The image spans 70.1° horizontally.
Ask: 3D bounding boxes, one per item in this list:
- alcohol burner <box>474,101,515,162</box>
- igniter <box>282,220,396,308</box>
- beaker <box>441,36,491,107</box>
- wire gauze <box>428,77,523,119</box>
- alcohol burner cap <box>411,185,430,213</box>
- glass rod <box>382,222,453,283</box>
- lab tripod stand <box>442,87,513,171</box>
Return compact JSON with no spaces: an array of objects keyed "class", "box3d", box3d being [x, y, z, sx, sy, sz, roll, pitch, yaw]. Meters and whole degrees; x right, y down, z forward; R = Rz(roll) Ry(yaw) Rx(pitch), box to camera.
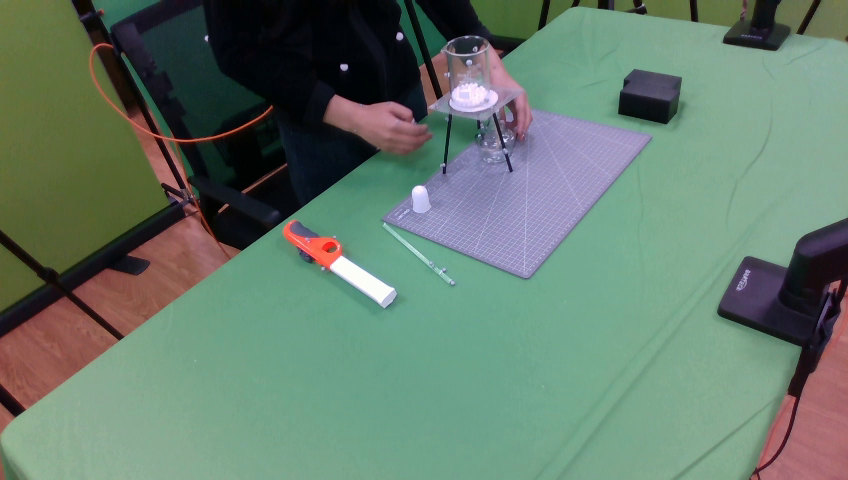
[{"class":"alcohol burner","box3d":[0.131,-0.206,1.124,0.078,0.119,0.077,-4,42,4]},{"class":"igniter","box3d":[-0.146,0.032,0.966,0.274,0.025,0.057,30,64,37]},{"class":"beaker","box3d":[0.074,-0.287,1.036,0.084,0.101,0.073,-1,41,8]},{"class":"wire gauze","box3d":[0.090,-0.249,1.063,0.120,0.011,0.125,24,48,30]},{"class":"alcohol burner cap","box3d":[-0.008,-0.074,1.050,0.034,0.048,0.033,-4,40,4]},{"class":"glass rod","box3d":[-0.014,0.016,0.976,0.008,0.008,0.198,-30,44,-22]},{"class":"lab tripod stand","box3d":[0.097,-0.200,1.108,0.148,0.132,0.147,-4,40,4]}]
